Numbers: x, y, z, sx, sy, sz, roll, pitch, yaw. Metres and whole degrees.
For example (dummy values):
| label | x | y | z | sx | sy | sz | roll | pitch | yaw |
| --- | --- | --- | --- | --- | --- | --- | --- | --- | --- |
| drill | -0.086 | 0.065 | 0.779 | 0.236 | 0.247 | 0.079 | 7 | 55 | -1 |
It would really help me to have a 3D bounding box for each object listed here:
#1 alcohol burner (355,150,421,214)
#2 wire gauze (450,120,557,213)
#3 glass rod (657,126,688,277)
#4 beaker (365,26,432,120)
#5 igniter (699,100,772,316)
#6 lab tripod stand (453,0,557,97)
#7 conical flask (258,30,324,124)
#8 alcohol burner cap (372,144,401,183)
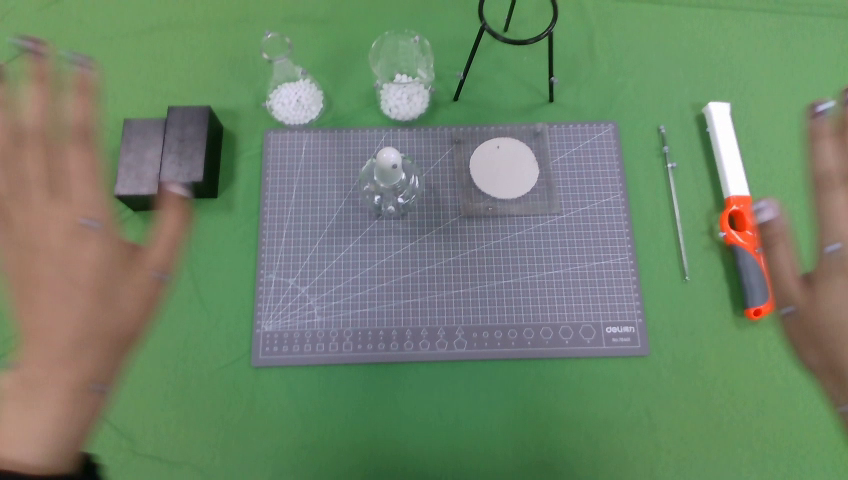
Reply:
| label | x | y | z | sx | sy | sz | roll | pitch | yaw |
| --- | --- | --- | --- | --- | --- | --- | --- | --- | --- |
| alcohol burner | -0.041 | -0.074 | 0.690 | 0.078 | 0.119 | 0.077 | 0 | 74 | -1 |
| wire gauze | 0.099 | -0.091 | 0.752 | 0.125 | 0.011 | 0.120 | -3 | 73 | -3 |
| glass rod | 0.305 | -0.051 | 0.743 | 0.008 | 0.008 | 0.198 | -2 | 72 | -1 |
| beaker | -0.026 | -0.198 | 0.740 | 0.083 | 0.101 | 0.074 | 33 | 76 | 9 |
| igniter | 0.375 | -0.044 | 0.732 | 0.057 | 0.025 | 0.275 | 0 | 73 | -11 |
| lab tripod stand | 0.102 | -0.239 | 0.736 | 0.148 | 0.132 | 0.147 | 0 | 74 | 0 |
| conical flask | -0.165 | -0.198 | 0.726 | 0.075 | 0.122 | 0.075 | 0 | 72 | 0 |
| alcohol burner cap | -0.040 | -0.086 | 0.656 | 0.034 | 0.048 | 0.033 | 2 | 73 | -6 |
